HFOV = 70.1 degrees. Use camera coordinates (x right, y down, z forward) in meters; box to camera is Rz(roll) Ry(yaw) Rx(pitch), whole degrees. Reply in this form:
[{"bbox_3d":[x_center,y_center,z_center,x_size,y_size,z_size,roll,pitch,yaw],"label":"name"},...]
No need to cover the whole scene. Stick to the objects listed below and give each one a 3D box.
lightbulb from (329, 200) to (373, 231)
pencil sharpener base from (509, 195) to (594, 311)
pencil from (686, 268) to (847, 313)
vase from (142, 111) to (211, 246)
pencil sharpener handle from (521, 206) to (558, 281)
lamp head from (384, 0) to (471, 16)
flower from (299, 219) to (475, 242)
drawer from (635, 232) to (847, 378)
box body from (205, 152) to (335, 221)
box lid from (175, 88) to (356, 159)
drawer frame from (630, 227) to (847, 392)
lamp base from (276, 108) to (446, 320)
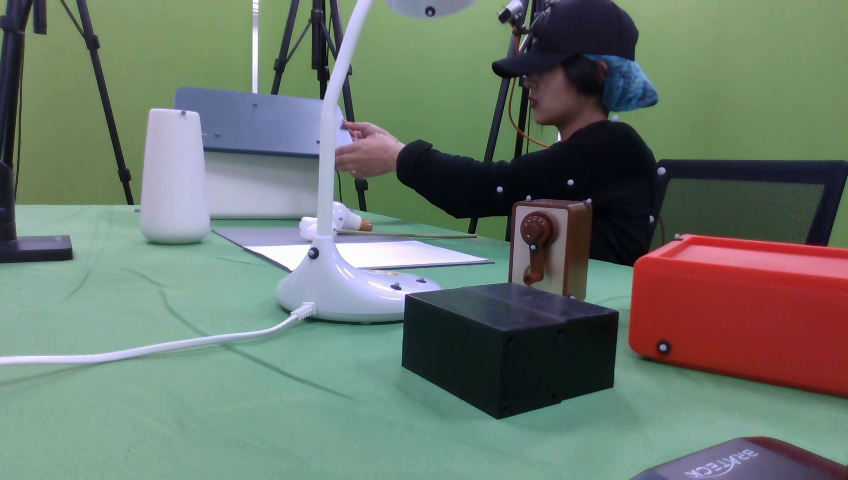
[{"bbox_3d":[-0.143,-0.036,1.108,0.108,0.059,0.059,16,0,-27],"label":"lightbulb"},{"bbox_3d":[0.126,0.011,0.601,0.061,0.107,0.077,7,9,30],"label":"pencil sharpener base"},{"bbox_3d":[0.308,0.045,0.515,0.194,0.012,0.012,13,5,-12],"label":"pencil"},{"bbox_3d":[-0.378,-0.093,0.920,0.098,0.200,0.098,2,9,0],"label":"vase"},{"bbox_3d":[0.101,0.003,0.555,0.036,0.067,0.031,0,5,31],"label":"pencil sharpener handle"},{"bbox_3d":[-0.001,-0.301,0.599,0.112,0.112,0.123,4,-30,14],"label":"lamp head"},{"bbox_3d":[-0.049,-0.010,1.081,0.364,0.038,0.044,2,36,-36],"label":"flower"},{"bbox_3d":[0.292,0.044,0.488,0.193,0.073,0.213,7,9,30],"label":"drawer"},{"bbox_3d":[-0.411,-0.135,1.386,0.366,0.160,0.253,-2,9,-29],"label":"box body"},{"bbox_3d":[-0.346,-0.256,1.324,0.373,0.015,0.262,0,39,-21],"label":"box lid"},{"bbox_3d":[0.292,0.043,0.484,0.201,0.082,0.214,7,9,29],"label":"drawer frame"},{"bbox_3d":[-0.061,-0.027,0.556,0.160,0.180,0.180,4,10,20],"label":"lamp base"}]
